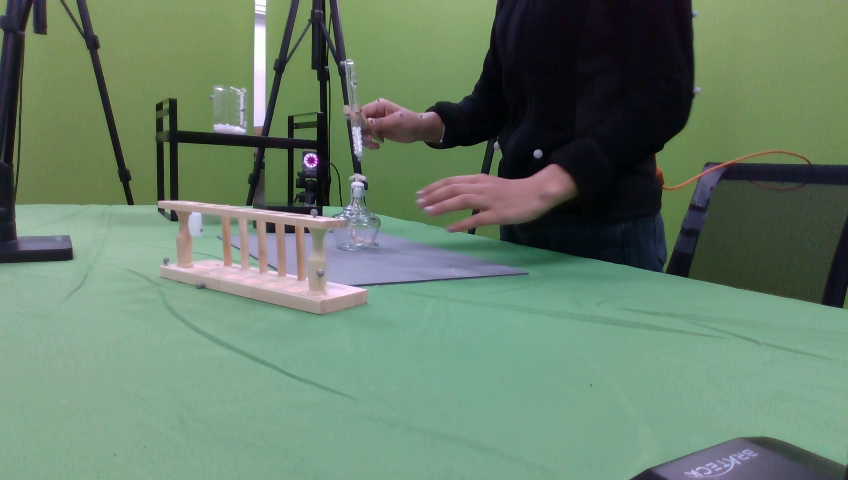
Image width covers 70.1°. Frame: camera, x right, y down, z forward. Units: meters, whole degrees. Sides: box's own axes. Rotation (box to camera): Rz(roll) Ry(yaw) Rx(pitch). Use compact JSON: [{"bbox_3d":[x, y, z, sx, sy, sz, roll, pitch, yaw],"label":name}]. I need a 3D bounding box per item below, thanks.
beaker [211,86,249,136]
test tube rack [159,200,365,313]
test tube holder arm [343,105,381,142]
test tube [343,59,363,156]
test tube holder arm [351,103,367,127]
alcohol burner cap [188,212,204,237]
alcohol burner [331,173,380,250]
[{"bbox_3d":[-0.413,-0.274,1.297,0.074,0.100,0.083,-5,11,-44],"label":"beaker"},{"bbox_3d":[-0.173,0.009,0.624,0.241,0.085,0.067,7,9,34],"label":"test tube rack"},{"bbox_3d":[-0.100,-0.189,0.996,0.013,0.015,0.179,-4,-6,10],"label":"test tube holder arm"},{"bbox_3d":[-0.109,-0.203,0.929,0.017,0.150,0.017,-6,-3,0],"label":"test tube"},{"bbox_3d":[-0.101,-0.194,0.951,0.010,0.015,0.088,-4,-6,4],"label":"test tube holder arm"},{"bbox_3d":[-0.390,-0.029,1.025,0.034,0.048,0.034,2,8,0],"label":"alcohol burner cap"},{"bbox_3d":[-0.106,-0.044,0.930,0.078,0.119,0.078,3,6,0],"label":"alcohol burner"}]
